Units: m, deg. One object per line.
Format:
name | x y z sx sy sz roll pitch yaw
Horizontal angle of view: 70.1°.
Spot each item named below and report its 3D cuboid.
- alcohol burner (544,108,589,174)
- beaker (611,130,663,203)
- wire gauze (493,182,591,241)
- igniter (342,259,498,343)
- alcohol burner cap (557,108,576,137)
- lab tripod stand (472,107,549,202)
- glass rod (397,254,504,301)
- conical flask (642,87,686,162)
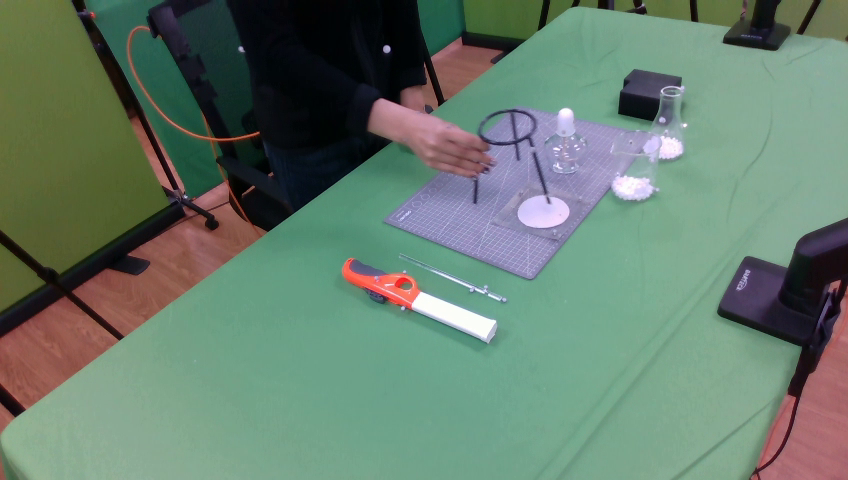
alcohol burner | 0.252 -0.178 1.071 0.078 0.120 0.077 -7 40 6
beaker | 0.346 -0.118 0.998 0.084 0.101 0.073 -17 40 -7
wire gauze | 0.198 -0.048 1.011 0.120 0.011 0.125 20 50 31
igniter | -0.017 0.084 0.883 0.274 0.025 0.057 20 58 31
alcohol burner cap | 0.246 -0.205 1.047 0.034 0.048 0.033 -8 44 8
lab tripod stand | 0.134 -0.134 0.961 0.148 0.132 0.147 -9 45 9
glass rod | 0.036 0.054 0.922 0.198 0.008 0.008 22 50 31
conical flask | 0.429 -0.206 1.067 0.075 0.122 0.075 -6 40 6
